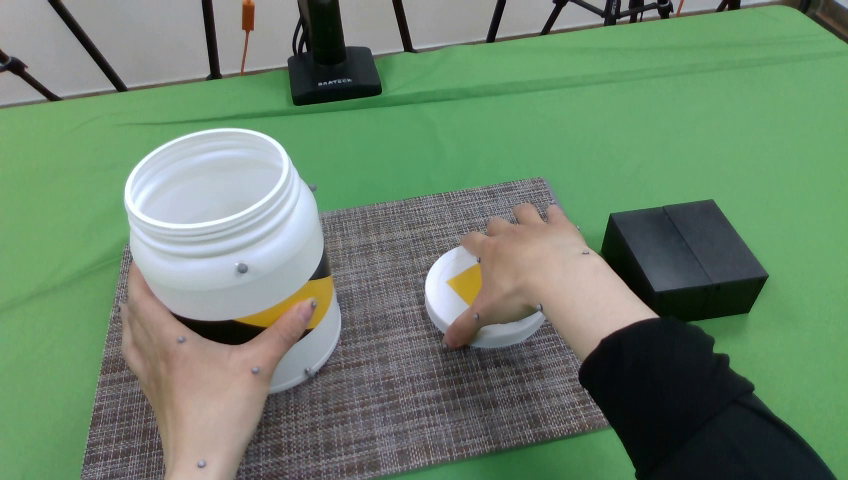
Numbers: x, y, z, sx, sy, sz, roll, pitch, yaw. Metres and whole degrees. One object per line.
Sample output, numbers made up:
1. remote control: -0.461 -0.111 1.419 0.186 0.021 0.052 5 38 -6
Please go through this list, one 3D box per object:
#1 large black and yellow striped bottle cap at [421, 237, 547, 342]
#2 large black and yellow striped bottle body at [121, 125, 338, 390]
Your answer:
1. large black and yellow striped bottle cap: 0.055 0.042 0.555 0.115 0.019 0.114 -2 45 2
2. large black and yellow striped bottle body: -0.144 0.017 0.470 0.131 0.186 0.129 -1 45 2
